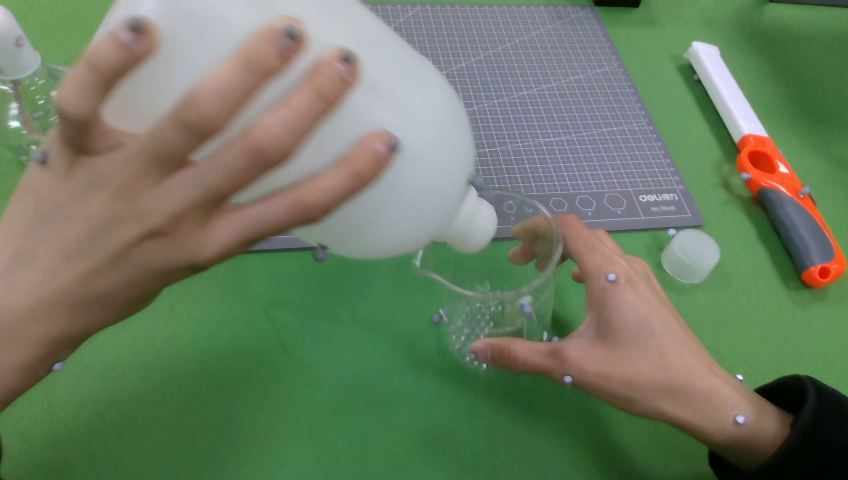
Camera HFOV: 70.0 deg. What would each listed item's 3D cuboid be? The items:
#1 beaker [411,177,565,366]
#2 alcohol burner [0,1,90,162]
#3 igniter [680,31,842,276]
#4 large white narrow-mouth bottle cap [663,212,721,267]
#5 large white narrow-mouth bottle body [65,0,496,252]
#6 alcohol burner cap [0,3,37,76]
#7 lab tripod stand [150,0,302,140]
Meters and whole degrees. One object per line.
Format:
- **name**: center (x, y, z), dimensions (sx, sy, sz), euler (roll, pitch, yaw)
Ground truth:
- **beaker**: center (0.038, 0.025, 0.360), dimensions (0.084, 0.101, 0.073), euler (-18, 53, -5)
- **alcohol burner**: center (-0.277, -0.112, 0.415), dimensions (0.078, 0.120, 0.077), euler (4, 52, -5)
- **igniter**: center (0.281, -0.086, 0.520), dimensions (0.057, 0.025, 0.273), euler (5, 54, -17)
- **large white narrow-mouth bottle cap**: center (0.199, 0.000, 0.452), dimensions (0.038, 0.024, 0.037), euler (3, 54, -4)
- **large white narrow-mouth bottle body**: center (-0.039, -0.050, 0.272), dimensions (0.196, 0.101, 0.101), euler (32, 44, -35)
- **alcohol burner cap**: center (-0.274, -0.132, 0.385), dimensions (0.034, 0.048, 0.033), euler (3, 60, -4)
- **lab tripod stand**: center (-0.148, -0.171, 0.458), dimensions (0.148, 0.132, 0.147), euler (5, 54, -6)
